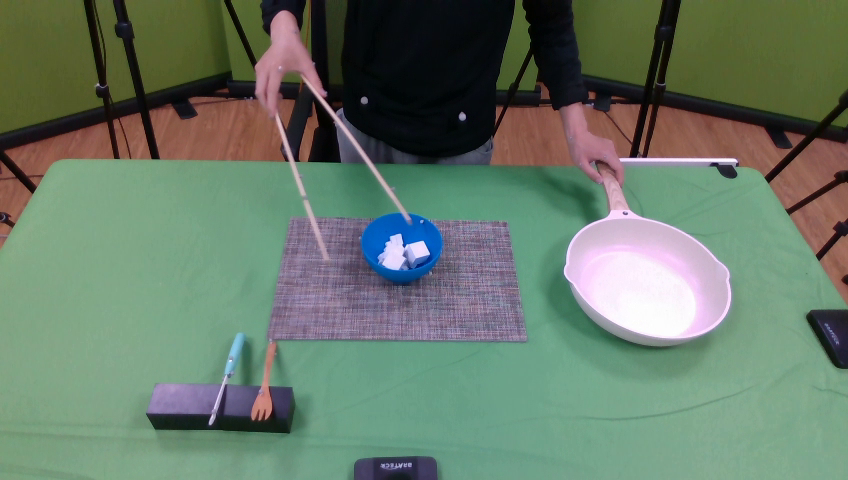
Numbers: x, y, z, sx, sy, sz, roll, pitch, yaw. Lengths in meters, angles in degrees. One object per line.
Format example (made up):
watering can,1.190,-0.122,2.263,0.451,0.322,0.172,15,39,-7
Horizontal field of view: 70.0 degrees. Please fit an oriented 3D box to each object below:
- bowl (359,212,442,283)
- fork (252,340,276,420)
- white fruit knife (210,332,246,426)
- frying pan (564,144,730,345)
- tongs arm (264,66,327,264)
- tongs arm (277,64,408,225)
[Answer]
bowl,-0.044,0.026,1.124,0.151,0.077,0.150,2,46,-2
fork,-0.242,0.211,0.932,0.028,0.019,0.206,-5,27,-7
white fruit knife,-0.301,0.206,0.930,0.016,0.027,0.206,5,29,-7
frying pan,0.396,-0.008,1.179,0.307,0.103,0.484,0,55,-5
tongs arm,-0.208,-0.135,1.017,0.051,0.026,0.383,-24,69,-3
tongs arm,-0.139,-0.170,1.025,0.028,0.028,0.385,-36,70,-4
